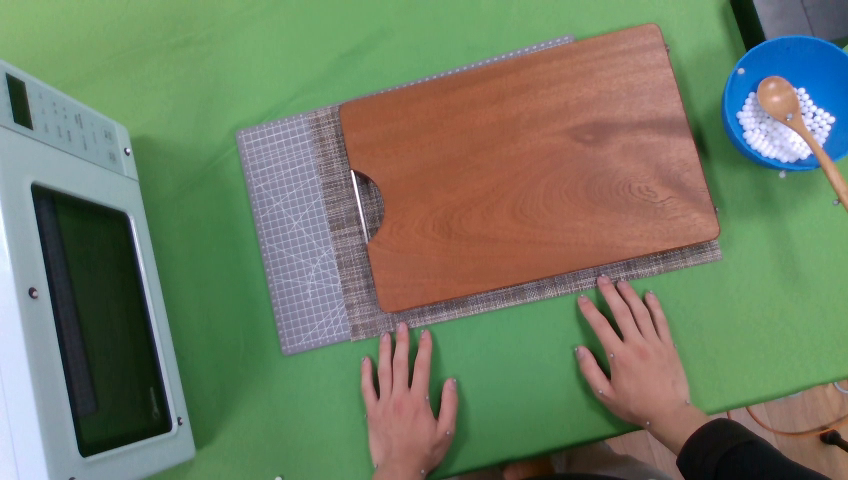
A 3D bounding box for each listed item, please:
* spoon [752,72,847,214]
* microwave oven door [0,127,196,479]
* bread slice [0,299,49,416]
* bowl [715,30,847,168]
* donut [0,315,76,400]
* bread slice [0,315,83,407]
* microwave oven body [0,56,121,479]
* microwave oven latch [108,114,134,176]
[{"bbox_3d":[0.406,-0.105,0.644,0.041,0.022,0.191,-15,58,2],"label":"spoon"},{"bbox_3d":[-0.352,0.077,0.640,0.039,0.245,0.354,-17,81,5],"label":"microwave oven door"},{"bbox_3d":[-0.459,0.139,0.636,0.134,0.018,0.106,-31,83,16],"label":"bread slice"},{"bbox_3d":[0.397,-0.147,0.680,0.151,0.077,0.151,-1,83,7],"label":"bowl"},{"bbox_3d":[-0.448,0.132,0.684,0.099,0.048,0.099,-1,98,-8],"label":"donut"},{"bbox_3d":[-0.476,0.148,0.716,0.132,0.019,0.105,-5,89,-4],"label":"bread slice"},{"bbox_3d":[-0.502,0.079,0.662,0.326,0.261,0.440,-17,82,4],"label":"microwave oven body"},{"bbox_3d":[-0.396,-0.118,0.772,0.030,0.029,0.079,-17,82,4],"label":"microwave oven latch"}]
